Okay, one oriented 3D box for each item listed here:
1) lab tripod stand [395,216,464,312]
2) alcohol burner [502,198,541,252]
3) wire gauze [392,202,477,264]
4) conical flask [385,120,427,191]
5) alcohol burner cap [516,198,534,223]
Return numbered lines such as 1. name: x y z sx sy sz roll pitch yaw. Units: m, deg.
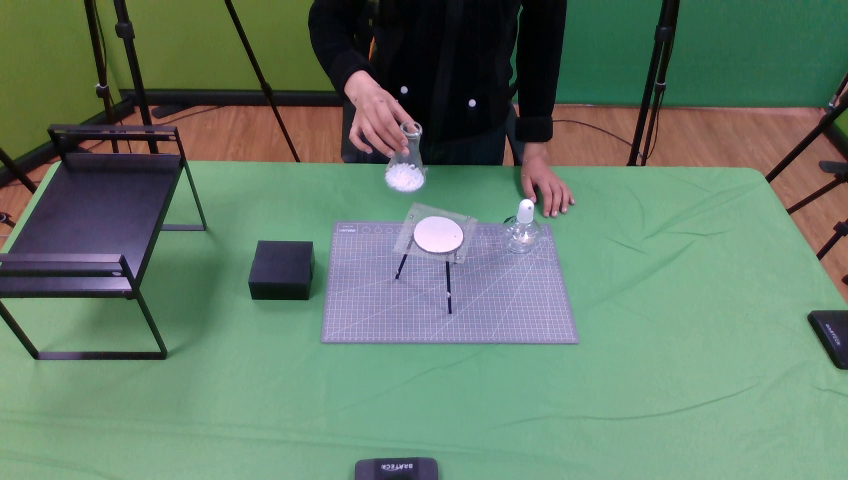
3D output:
1. lab tripod stand: 0.023 0.037 1.084 0.148 0.132 0.147 4 46 -4
2. alcohol burner: 0.192 -0.033 1.178 0.078 0.119 0.077 3 45 -2
3. wire gauze: 0.021 -0.011 1.037 0.121 0.011 0.124 13 47 8
4. conical flask: -0.027 -0.148 1.036 0.075 0.122 0.075 4 52 -5
5. alcohol burner cap: 0.194 -0.058 1.152 0.034 0.048 0.033 0 51 1
